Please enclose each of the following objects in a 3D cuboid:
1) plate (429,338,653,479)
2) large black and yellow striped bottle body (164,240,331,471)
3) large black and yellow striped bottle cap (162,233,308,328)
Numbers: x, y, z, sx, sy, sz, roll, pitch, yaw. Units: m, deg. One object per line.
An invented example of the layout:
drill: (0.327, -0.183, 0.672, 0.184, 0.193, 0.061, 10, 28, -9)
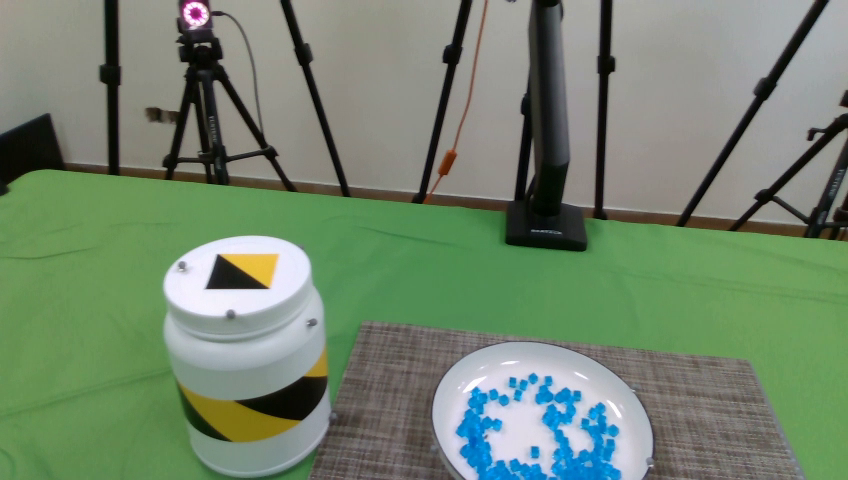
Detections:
plate: (0.107, 0.176, 0.576, 0.208, 0.039, 0.205, 2, 33, -1)
large black and yellow striped bottle body: (-0.155, 0.101, 0.546, 0.131, 0.185, 0.129, 2, 33, -1)
large black and yellow striped bottle cap: (-0.154, 0.030, 0.500, 0.115, 0.019, 0.114, 3, 32, -2)
